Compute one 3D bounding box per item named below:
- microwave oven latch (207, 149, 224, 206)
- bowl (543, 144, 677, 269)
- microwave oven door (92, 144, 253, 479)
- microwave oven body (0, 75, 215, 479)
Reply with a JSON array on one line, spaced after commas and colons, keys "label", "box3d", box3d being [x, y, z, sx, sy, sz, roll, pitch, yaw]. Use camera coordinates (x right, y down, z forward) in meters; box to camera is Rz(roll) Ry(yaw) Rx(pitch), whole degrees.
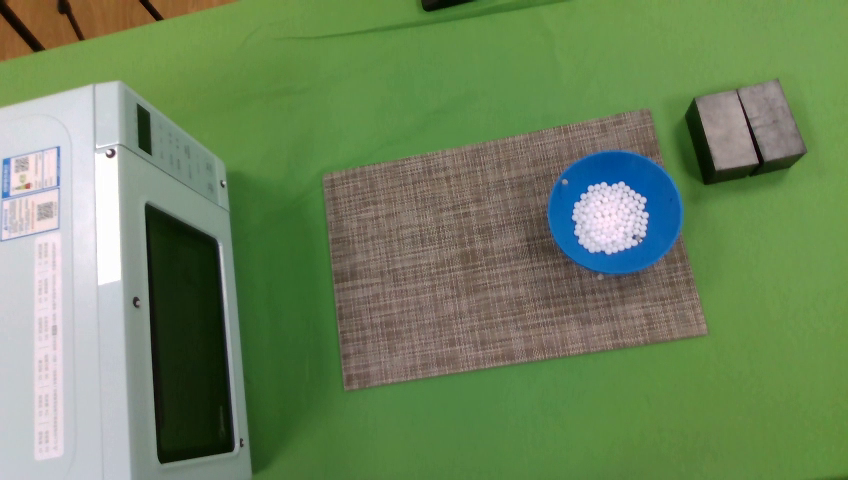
[{"label": "microwave oven latch", "box3d": [-0.297, -0.084, 0.835, 0.030, 0.029, 0.078, -12, 76, 6]}, {"label": "bowl", "box3d": [0.219, -0.031, 0.733, 0.151, 0.077, 0.150, -2, 77, 9]}, {"label": "microwave oven door", "box3d": [-0.278, 0.099, 0.682, 0.039, 0.245, 0.353, -12, 75, 6]}, {"label": "microwave oven body", "box3d": [-0.426, 0.091, 0.713, 0.326, 0.261, 0.439, -12, 76, 6]}]
